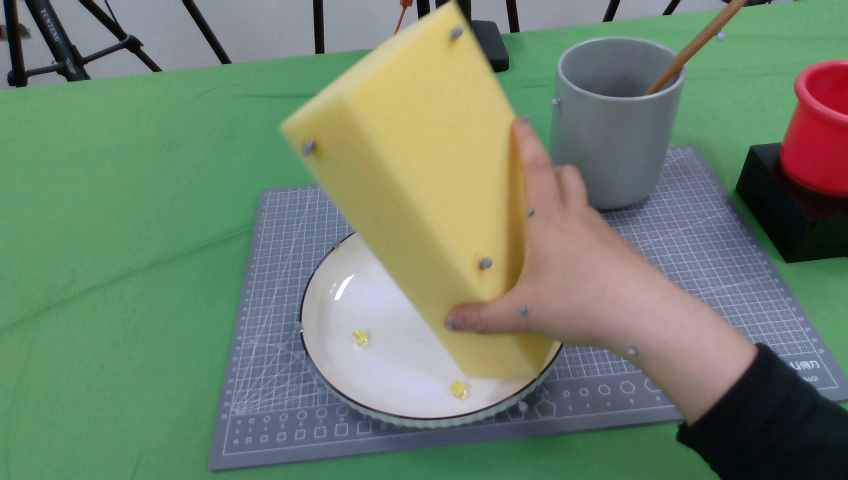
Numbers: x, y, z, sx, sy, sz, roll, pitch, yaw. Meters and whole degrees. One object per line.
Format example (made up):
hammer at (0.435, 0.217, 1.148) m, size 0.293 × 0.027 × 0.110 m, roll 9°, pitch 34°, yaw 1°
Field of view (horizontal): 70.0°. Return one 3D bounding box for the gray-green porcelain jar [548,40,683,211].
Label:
gray-green porcelain jar at (0.167, -0.099, 0.550) m, size 0.106 × 0.128 × 0.105 m, roll -3°, pitch 45°, yaw 4°

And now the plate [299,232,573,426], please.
plate at (0.009, 0.054, 0.475) m, size 0.207 × 0.039 × 0.205 m, roll -3°, pitch 45°, yaw 3°

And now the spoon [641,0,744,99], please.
spoon at (0.194, -0.121, 0.516) m, size 0.022 × 0.194 × 0.041 m, roll 25°, pitch 41°, yaw -8°

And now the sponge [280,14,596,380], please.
sponge at (0.022, -0.022, 0.392) m, size 0.060 × 0.208 × 0.118 m, roll -13°, pitch 31°, yaw 45°
